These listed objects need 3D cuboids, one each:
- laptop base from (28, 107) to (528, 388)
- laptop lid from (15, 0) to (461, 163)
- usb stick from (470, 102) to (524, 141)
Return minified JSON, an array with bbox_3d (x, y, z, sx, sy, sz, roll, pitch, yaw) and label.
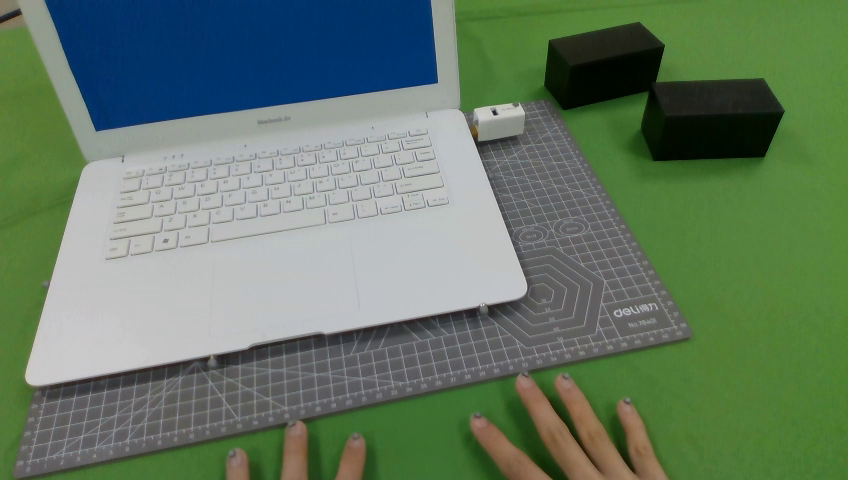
[{"bbox_3d":[-0.115,-0.010,0.500,0.355,0.023,0.233,-10,51,-6],"label":"laptop base"},{"bbox_3d":[-0.148,-0.194,0.514,0.357,0.244,0.013,-11,33,-5],"label":"laptop lid"},{"bbox_3d":[0.062,-0.109,0.564,0.059,0.027,0.021,-12,48,-4],"label":"usb stick"}]
